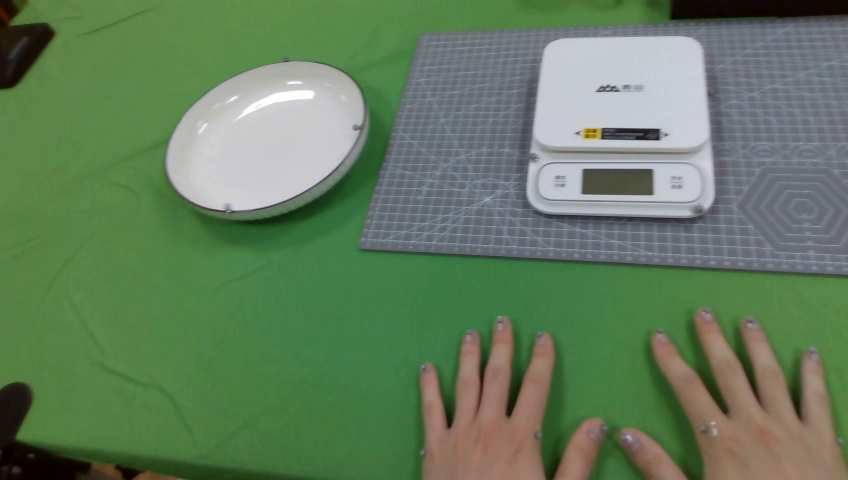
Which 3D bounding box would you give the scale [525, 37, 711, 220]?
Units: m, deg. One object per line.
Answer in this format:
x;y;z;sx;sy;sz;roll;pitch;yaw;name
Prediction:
0.172;-0.106;0.542;0.148;0.032;0.199;2;56;15;scale

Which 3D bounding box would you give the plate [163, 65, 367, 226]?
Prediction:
-0.156;-0.095;0.612;0.209;0.038;0.207;-6;54;9;plate

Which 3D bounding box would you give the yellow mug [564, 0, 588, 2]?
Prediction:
0.186;-0.318;0.672;0.100;0.064;0.129;-33;55;-10;yellow mug
